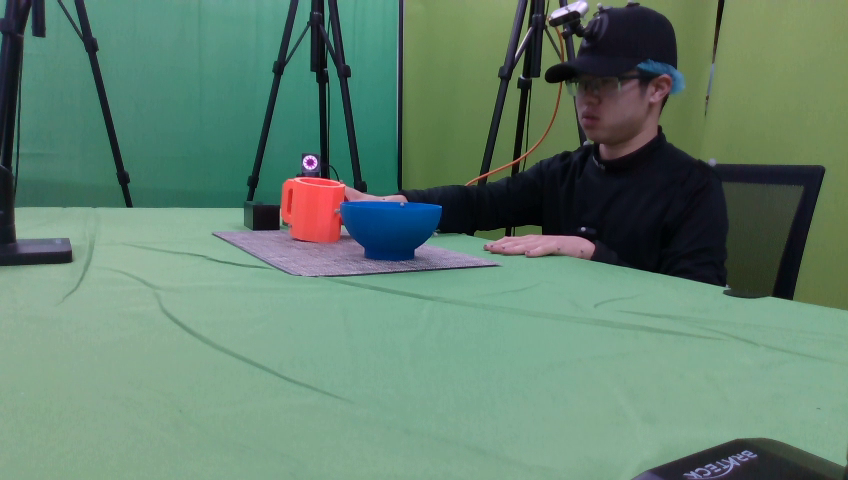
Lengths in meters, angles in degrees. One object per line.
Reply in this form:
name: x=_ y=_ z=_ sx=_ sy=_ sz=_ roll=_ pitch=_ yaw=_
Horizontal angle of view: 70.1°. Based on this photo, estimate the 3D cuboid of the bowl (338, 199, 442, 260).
bowl: x=-0.050 y=-0.015 z=0.878 sx=0.151 sy=0.077 sz=0.151 roll=2 pitch=8 yaw=0

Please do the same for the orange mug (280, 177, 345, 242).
orange mug: x=-0.198 y=-0.059 z=1.038 sx=0.125 sy=0.100 sz=0.084 roll=21 pitch=18 yaw=30
